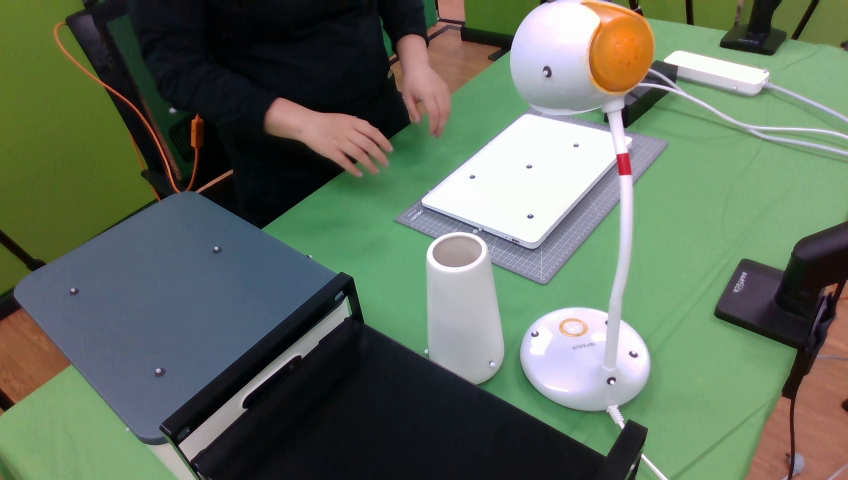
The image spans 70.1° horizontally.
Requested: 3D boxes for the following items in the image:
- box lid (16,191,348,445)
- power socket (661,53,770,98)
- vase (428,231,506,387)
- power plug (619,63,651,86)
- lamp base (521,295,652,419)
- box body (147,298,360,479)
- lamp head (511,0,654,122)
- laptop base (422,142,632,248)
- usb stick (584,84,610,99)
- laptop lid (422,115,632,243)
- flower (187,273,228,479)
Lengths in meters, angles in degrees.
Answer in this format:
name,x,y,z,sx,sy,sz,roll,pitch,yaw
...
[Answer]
name,x,y,z,sx,sy,sz,roll,pitch,yaw
box lid,-0.295,0.062,0.723,0.368,0.015,0.264,26,51,34
power socket,0.617,-0.355,1.292,0.225,0.033,0.072,29,53,35
vase,0.050,0.087,0.728,0.098,0.201,0.097,-3,40,3
power plug,0.435,-0.341,1.266,0.035,0.053,0.072,5,31,-14
lamp base,0.200,0.095,0.710,0.161,0.181,0.178,-16,43,-10
box body,-0.288,0.118,0.772,0.361,0.161,0.255,26,50,33
lamp head,0.155,-0.168,0.563,0.113,0.113,0.122,-18,23,-12
laptop base,0.192,-0.117,1.087,0.233,0.023,0.355,21,47,35
usb stick,0.353,-0.306,1.252,0.027,0.021,0.058,-1,1,-39
laptop lid,0.189,-0.126,1.081,0.239,0.013,0.358,23,48,35
flower,-0.283,0.161,0.819,0.044,0.038,0.359,10,34,-22
